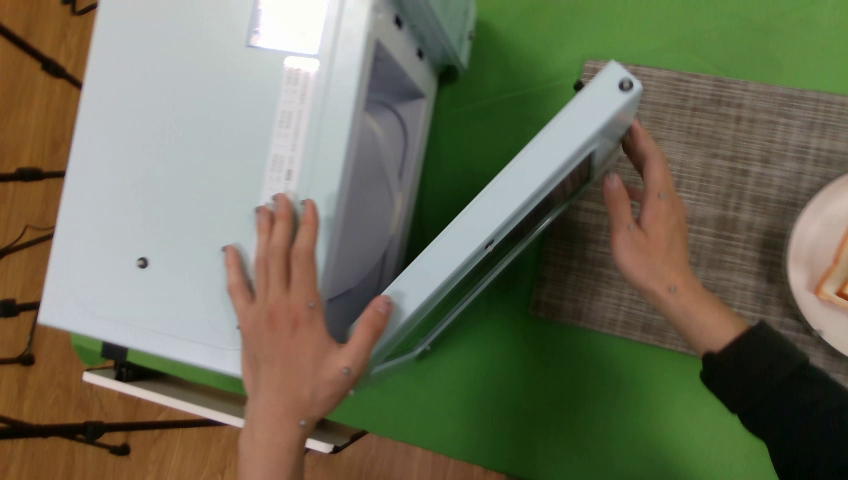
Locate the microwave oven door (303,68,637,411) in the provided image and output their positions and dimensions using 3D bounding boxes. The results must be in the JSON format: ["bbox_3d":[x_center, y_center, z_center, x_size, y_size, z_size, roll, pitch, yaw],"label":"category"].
[{"bbox_3d":[0.056,0.012,0.581,0.039,0.245,0.356,45,98,14],"label":"microwave oven door"}]

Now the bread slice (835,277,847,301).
[{"bbox_3d":[0.453,0.016,0.541,0.104,0.019,0.131,26,91,20],"label":"bread slice"}]

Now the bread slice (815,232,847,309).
[{"bbox_3d":[0.464,0.018,0.597,0.106,0.018,0.134,22,92,13],"label":"bread slice"}]

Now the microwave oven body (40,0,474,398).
[{"bbox_3d":[-0.157,-0.100,0.645,0.325,0.261,0.441,11,90,14],"label":"microwave oven body"}]

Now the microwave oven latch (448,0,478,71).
[{"bbox_3d":[0.043,-0.240,0.704,0.030,0.029,0.079,11,90,14],"label":"microwave oven latch"}]

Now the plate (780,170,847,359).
[{"bbox_3d":[0.463,0.026,0.597,0.207,0.039,0.207,-1,87,14],"label":"plate"}]
